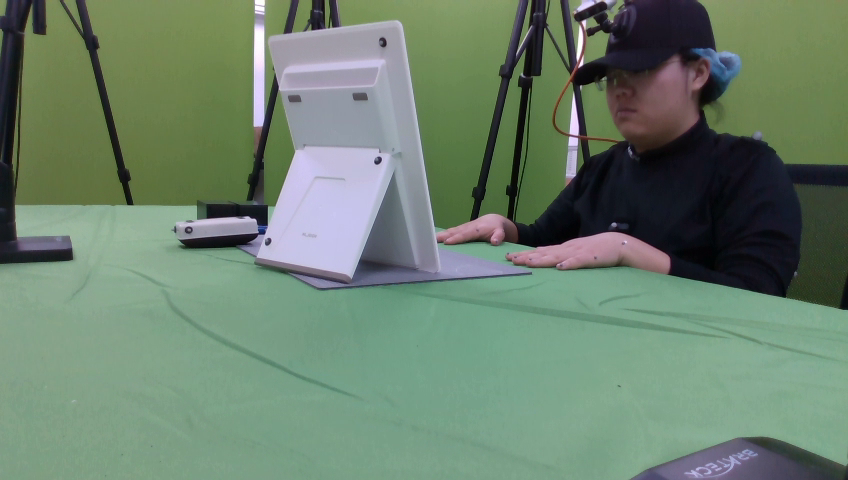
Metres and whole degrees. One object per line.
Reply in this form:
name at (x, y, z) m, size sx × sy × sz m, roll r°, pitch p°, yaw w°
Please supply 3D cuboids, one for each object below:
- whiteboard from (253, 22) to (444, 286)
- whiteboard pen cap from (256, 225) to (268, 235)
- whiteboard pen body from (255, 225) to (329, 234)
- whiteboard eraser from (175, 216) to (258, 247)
whiteboard at (-0.125, -0.081, 0.715) m, size 0.216 × 0.305 × 0.144 m, roll 9°, pitch 29°, yaw 36°
whiteboard pen cap at (-0.288, -0.019, 1.072) m, size 0.033 × 0.018 × 0.018 m, roll -3°, pitch 9°, yaw -34°
whiteboard pen body at (-0.239, -0.019, 1.105) m, size 0.141 × 0.017 × 0.017 m, roll -2°, pitch 9°, yaw -34°
whiteboard eraser at (-0.313, -0.012, 0.915) m, size 0.113 × 0.042 × 0.055 m, roll -5°, pitch 12°, yaw -30°
